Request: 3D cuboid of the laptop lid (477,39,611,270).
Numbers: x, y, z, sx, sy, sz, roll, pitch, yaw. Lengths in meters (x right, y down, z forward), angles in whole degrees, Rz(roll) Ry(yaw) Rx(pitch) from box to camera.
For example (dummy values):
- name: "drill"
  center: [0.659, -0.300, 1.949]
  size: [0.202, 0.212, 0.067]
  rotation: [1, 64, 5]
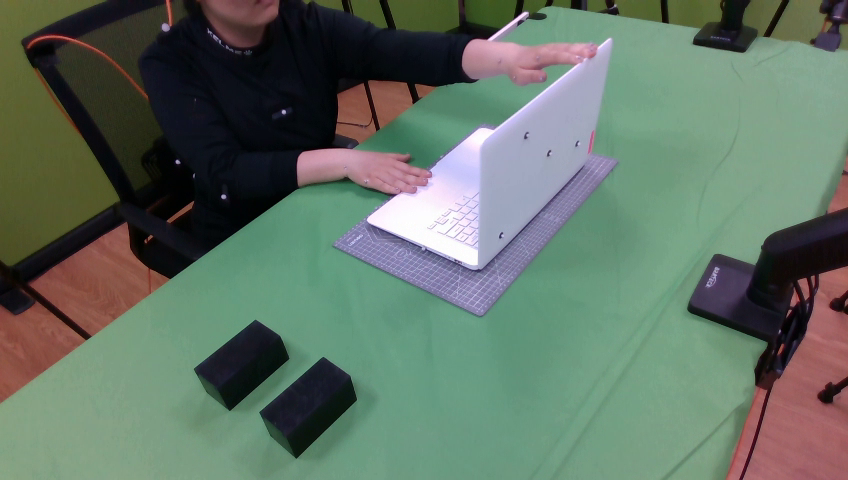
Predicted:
- name: "laptop lid"
  center: [0.186, -0.133, 0.915]
  size: [0.013, 0.242, 0.358]
  rotation: [27, 49, 28]

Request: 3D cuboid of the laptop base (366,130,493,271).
- name: "laptop base"
  center: [0.098, -0.085, 1.058]
  size: [0.233, 0.023, 0.355]
  rotation: [21, 47, 34]
